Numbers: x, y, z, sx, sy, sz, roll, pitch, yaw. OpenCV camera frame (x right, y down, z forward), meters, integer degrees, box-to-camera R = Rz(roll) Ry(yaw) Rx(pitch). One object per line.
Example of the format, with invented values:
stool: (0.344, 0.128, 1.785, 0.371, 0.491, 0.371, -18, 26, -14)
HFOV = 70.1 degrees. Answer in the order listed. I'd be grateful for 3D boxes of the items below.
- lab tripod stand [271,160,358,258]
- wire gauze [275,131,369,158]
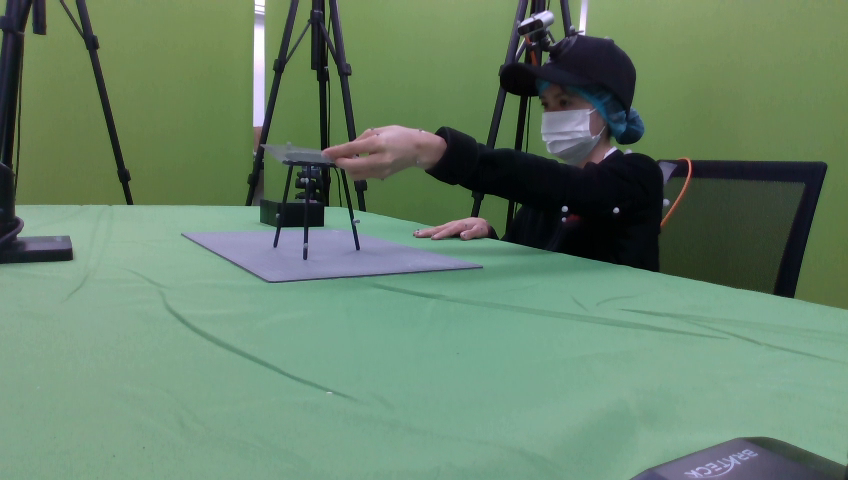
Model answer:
lab tripod stand: (-0.159, -0.048, 0.876, 0.148, 0.131, 0.148, 3, 5, 0)
wire gauze: (-0.149, -0.134, 0.868, 0.122, 0.011, 0.125, -4, -5, -17)
